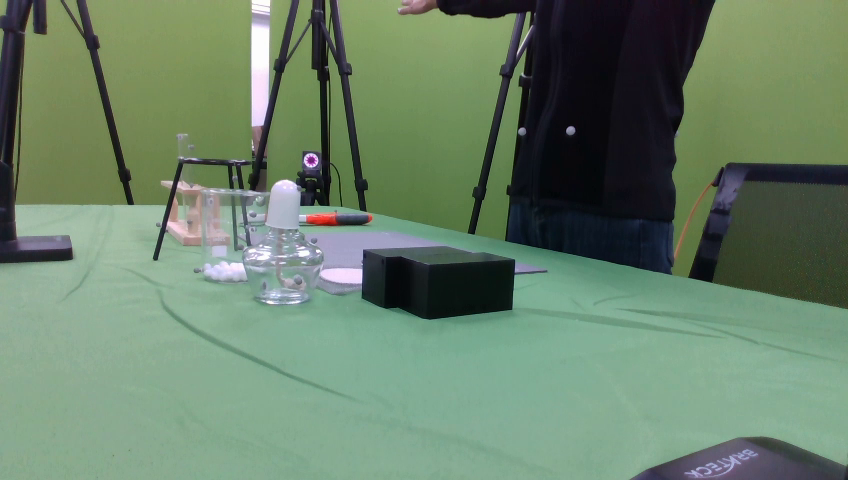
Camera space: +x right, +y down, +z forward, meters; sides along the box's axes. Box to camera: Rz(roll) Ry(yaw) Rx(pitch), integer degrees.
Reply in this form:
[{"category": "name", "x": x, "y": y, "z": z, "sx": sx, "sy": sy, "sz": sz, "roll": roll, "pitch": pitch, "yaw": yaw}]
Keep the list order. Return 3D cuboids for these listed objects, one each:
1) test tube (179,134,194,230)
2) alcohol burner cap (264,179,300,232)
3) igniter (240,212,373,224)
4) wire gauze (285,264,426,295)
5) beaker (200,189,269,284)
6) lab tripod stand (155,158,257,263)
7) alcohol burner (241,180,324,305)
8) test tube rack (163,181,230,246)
[{"category": "test tube", "x": -0.366, "y": -0.089, "z": 0.938, "sx": 0.017, "sy": 0.150, "sz": 0.017, "roll": -1, "pitch": 9, "yaw": 1}, {"category": "alcohol burner cap", "x": -0.134, "y": -0.034, "z": 0.579, "sx": 0.034, "sy": 0.048, "sz": 0.034, "roll": 9, "pitch": 10, "yaw": -1}, {"category": "igniter", "x": -0.237, "y": -0.045, "z": 1.250, "sx": 0.278, "sy": 0.025, "sz": 0.057, "roll": -2, "pitch": -2, "yaw": -31}, {"category": "wire gauze", "x": -0.079, "y": 0.039, "z": 0.692, "sx": 0.122, "sy": 0.011, "sz": 0.124, "roll": -4, "pitch": 11, "yaw": -37}, {"category": "beaker", "x": -0.209, "y": -0.006, "z": 0.676, "sx": 0.073, "sy": 0.100, "sz": 0.084, "roll": 7, "pitch": 7, "yaw": 28}, {"category": "lab tripod stand", "x": -0.275, "y": -0.041, "z": 0.797, "sx": 0.148, "sy": 0.131, "sz": 0.148, "roll": 2, "pitch": 9, "yaw": 0}, {"category": "alcohol burner", "x": -0.136, "y": 0.002, "z": 0.583, "sx": 0.078, "sy": 0.119, "sz": 0.078, "roll": 1, "pitch": 8, "yaw": 0}, {"category": "test tube rack", "x": -0.387, "y": -0.050, "z": 1.015, "sx": 0.067, "sy": 0.085, "sz": 0.241, "roll": -2, "pitch": 9, "yaw": -30}]
